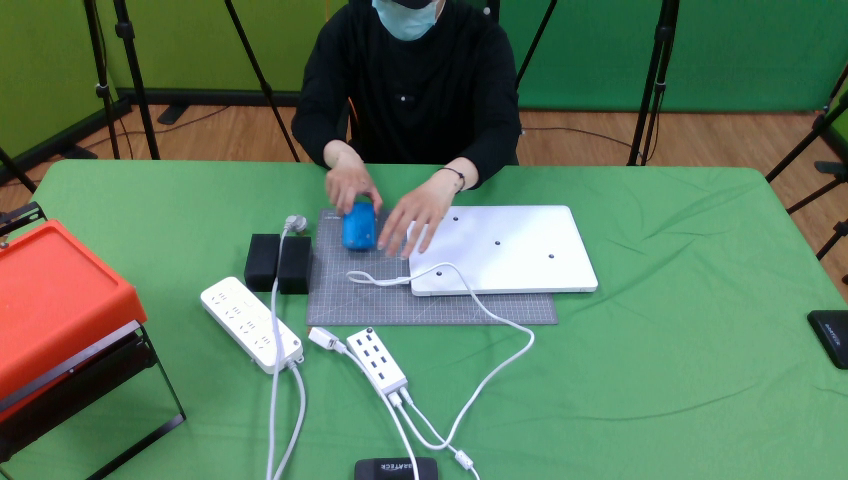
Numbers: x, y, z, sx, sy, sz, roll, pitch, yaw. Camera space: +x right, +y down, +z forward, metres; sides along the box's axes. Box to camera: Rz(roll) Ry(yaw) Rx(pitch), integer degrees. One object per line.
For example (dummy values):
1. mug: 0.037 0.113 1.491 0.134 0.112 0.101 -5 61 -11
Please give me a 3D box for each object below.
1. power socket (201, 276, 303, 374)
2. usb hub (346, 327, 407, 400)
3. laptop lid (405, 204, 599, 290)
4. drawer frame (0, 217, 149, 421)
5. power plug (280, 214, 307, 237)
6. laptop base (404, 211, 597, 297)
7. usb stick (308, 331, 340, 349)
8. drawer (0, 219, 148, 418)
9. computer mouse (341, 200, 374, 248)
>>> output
1. power socket: -0.296 0.141 1.034 0.225 0.033 0.072 37 55 27
2. usb hub: -0.078 0.202 0.998 0.049 0.025 0.124 -23 53 -24
3. laptop lid: 0.143 0.008 1.189 0.357 0.013 0.240 0 44 -5
4. drawer frame: -0.510 0.093 0.780 0.201 0.083 0.213 31 52 23
5. power plug: -0.259 -0.021 1.184 0.035 0.053 0.072 20 57 31
6. laptop base: 0.143 0.018 1.196 0.355 0.023 0.234 -1 43 -6
7. usb stick: -0.174 0.167 1.023 0.059 0.027 0.021 9 88 24
8. drawer: -0.509 0.093 0.783 0.193 0.073 0.211 32 53 24
9. computer mouse: -0.129 -0.035 1.188 0.063 0.041 0.116 2 50 -6
